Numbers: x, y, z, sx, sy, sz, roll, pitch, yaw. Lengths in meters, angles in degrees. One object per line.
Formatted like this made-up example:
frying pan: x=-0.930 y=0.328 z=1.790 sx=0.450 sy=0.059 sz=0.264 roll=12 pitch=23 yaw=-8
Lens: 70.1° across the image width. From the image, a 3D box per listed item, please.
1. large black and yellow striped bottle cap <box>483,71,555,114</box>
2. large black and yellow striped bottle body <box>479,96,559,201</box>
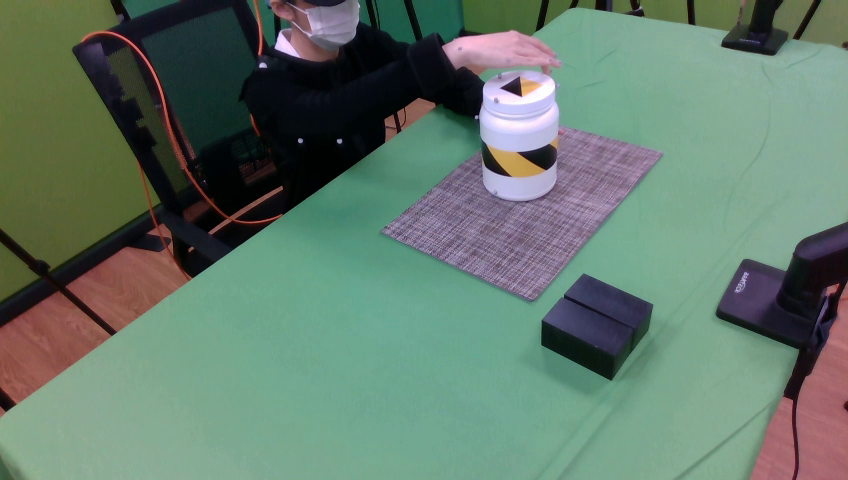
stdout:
large black and yellow striped bottle cap: x=0.151 y=-0.238 z=0.967 sx=0.115 sy=0.019 sz=0.114 roll=-3 pitch=41 yaw=3
large black and yellow striped bottle body: x=0.161 y=-0.173 z=1.022 sx=0.131 sy=0.185 sz=0.130 roll=-5 pitch=40 yaw=4
